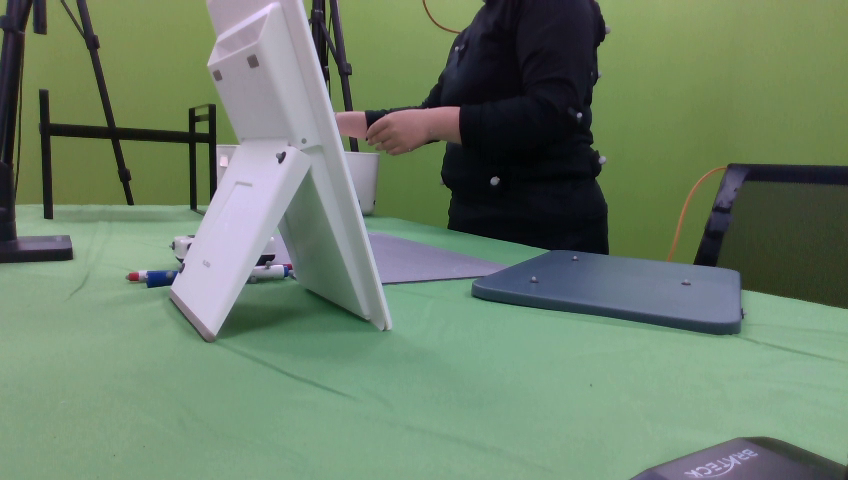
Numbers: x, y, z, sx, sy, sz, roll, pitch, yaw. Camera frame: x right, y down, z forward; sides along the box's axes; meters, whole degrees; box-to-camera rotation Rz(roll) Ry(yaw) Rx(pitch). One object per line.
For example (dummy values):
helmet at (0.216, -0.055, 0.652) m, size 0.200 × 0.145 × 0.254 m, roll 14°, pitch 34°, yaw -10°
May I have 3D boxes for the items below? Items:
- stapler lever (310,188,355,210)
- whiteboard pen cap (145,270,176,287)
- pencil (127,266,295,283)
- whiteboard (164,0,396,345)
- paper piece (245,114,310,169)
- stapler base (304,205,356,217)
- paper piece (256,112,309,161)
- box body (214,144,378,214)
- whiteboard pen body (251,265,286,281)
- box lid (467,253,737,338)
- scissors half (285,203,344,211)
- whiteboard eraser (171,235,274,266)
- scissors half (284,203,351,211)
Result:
stapler lever at (-0.227, -0.102, 1.510) m, size 0.119 × 0.040 × 0.026 m, roll 9°, pitch 7°, yaw -34°
whiteboard pen cap at (-0.271, 0.039, 0.627) m, size 0.033 × 0.018 × 0.018 m, roll -3°, pitch 10°, yaw -33°
pencil at (-0.231, 0.037, 0.690) m, size 0.195 × 0.012 × 0.012 m, roll -2°, pitch 9°, yaw -34°
whiteboard at (-0.173, -0.053, 0.511) m, size 0.144 × 0.305 × 0.216 m, roll -23°, pitch 19°, yaw -26°
paper piece at (-0.362, -0.247, 1.512) m, size 0.139 × 0.136 × 0.008 m, roll 21°, pitch -41°, yaw -18°
stapler base at (-0.233, -0.078, 1.510) m, size 0.131 × 0.024 × 0.041 m, roll 9°, pitch 7°, yaw -34°
paper piece at (-0.349, -0.259, 1.503) m, size 0.136 × 0.004 × 0.135 m, roll 26°, pitch 29°, yaw -24°
box body at (-0.328, -0.154, 1.543) m, size 0.366 × 0.160 × 0.253 m, roll -2°, pitch 9°, yaw -32°
whiteboard pen body at (-0.220, 0.039, 0.656) m, size 0.141 × 0.017 × 0.017 m, roll -2°, pitch 9°, yaw -30°
box lid at (0.234, 0.054, 0.736) m, size 0.262 × 0.015 × 0.373 m, roll 7°, pitch 8°, yaw 26°
scissors half at (-0.280, -0.083, 1.552) m, size 0.040 × 0.013 × 0.176 m, roll -1°, pitch 7°, yaw 45°
whiteboard eraser at (-0.248, 0.014, 0.747) m, size 0.113 × 0.042 × 0.055 m, roll -1°, pitch 9°, yaw -32°
scissors half at (-0.269, -0.081, 1.535) m, size 0.176 × 0.013 × 0.040 m, roll -6°, pitch 10°, yaw -23°
